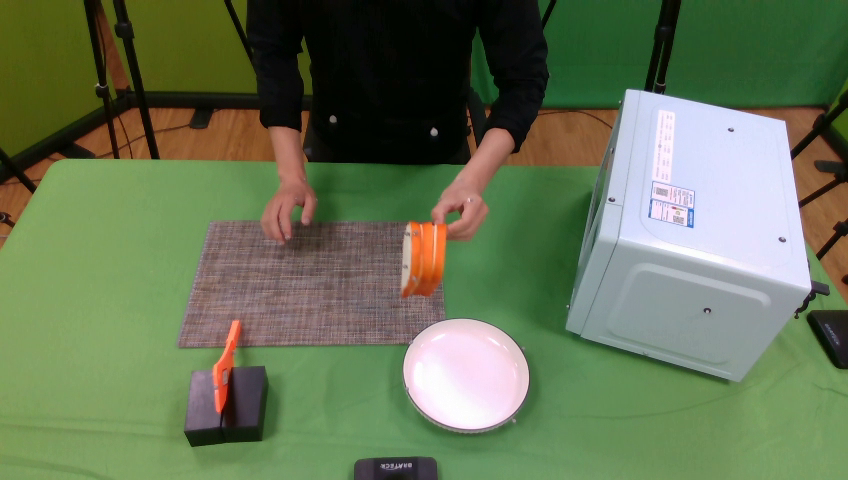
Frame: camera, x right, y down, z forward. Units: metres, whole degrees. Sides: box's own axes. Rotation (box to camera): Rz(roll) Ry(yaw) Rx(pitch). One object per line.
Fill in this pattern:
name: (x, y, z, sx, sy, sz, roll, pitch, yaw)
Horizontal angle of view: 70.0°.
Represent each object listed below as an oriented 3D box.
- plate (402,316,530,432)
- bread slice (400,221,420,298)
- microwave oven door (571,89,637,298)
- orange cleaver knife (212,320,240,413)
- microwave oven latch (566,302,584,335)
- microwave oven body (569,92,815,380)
plate: (0.066, 0.217, 0.982, 0.208, 0.039, 0.206, 2, 46, -2)
bread slice: (-0.024, 0.025, 0.959, 0.018, 0.134, 0.106, 2, 72, -9)
microwave oven door: (0.343, -0.091, 1.133, 0.039, 0.245, 0.354, 15, 47, 10)
orange cleaver knife: (-0.306, 0.190, 0.944, 0.012, 0.077, 0.210, -5, 17, -7)
microwave oven latch: (0.268, 0.126, 1.059, 0.030, 0.029, 0.079, 16, 46, 12)
microwave oven body: (0.468, -0.021, 1.082, 0.325, 0.261, 0.440, 15, 46, 11)
